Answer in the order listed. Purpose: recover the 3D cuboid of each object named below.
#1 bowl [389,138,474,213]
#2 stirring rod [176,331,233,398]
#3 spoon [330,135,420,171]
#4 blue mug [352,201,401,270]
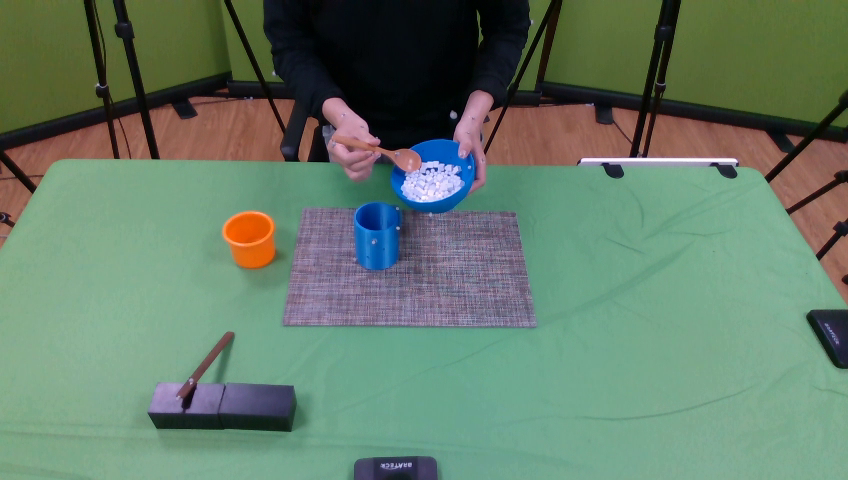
[{"bbox_3d":[0.020,-0.100,1.074,0.151,0.077,0.150,-7,53,10],"label":"bowl"},{"bbox_3d":[-0.342,0.192,0.955,0.014,0.006,0.175,3,24,7],"label":"stirring rod"},{"bbox_3d":[-0.077,-0.150,1.011,0.021,0.041,0.194,3,-5,41],"label":"spoon"},{"bbox_3d":[-0.082,-0.017,1.144,0.082,0.106,0.116,30,51,22],"label":"blue mug"}]
